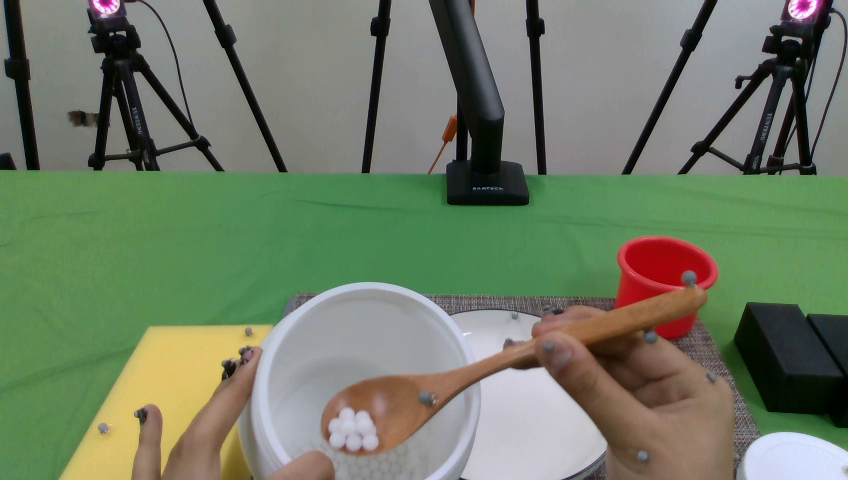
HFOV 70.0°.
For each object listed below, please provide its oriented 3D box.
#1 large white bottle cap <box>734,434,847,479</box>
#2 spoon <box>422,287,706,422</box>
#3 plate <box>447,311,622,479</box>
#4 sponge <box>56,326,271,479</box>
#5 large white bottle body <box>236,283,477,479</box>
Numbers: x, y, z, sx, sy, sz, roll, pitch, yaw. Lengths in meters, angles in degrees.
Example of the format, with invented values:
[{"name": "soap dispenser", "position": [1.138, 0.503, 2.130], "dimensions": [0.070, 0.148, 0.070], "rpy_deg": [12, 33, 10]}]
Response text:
[{"name": "large white bottle cap", "position": [0.305, 0.202, 0.473], "dimensions": [0.115, 0.018, 0.114], "rpy_deg": [2, 34, -1]}, {"name": "spoon", "position": [0.037, 0.061, 0.288], "dimensions": [0.193, 0.022, 0.041], "rpy_deg": [-24, 45, 15]}, {"name": "plate", "position": [0.067, 0.143, 0.541], "dimensions": [0.209, 0.038, 0.207], "rpy_deg": [1, 33, 0]}, {"name": "sponge", "position": [-0.200, 0.159, 0.495], "dimensions": [0.118, 0.061, 0.205], "rpy_deg": [-1, 33, 1]}, {"name": "large white bottle body", "position": [-0.044, 0.110, 0.370], "dimensions": [0.131, 0.185, 0.129], "rpy_deg": [6, 63, -11]}]
